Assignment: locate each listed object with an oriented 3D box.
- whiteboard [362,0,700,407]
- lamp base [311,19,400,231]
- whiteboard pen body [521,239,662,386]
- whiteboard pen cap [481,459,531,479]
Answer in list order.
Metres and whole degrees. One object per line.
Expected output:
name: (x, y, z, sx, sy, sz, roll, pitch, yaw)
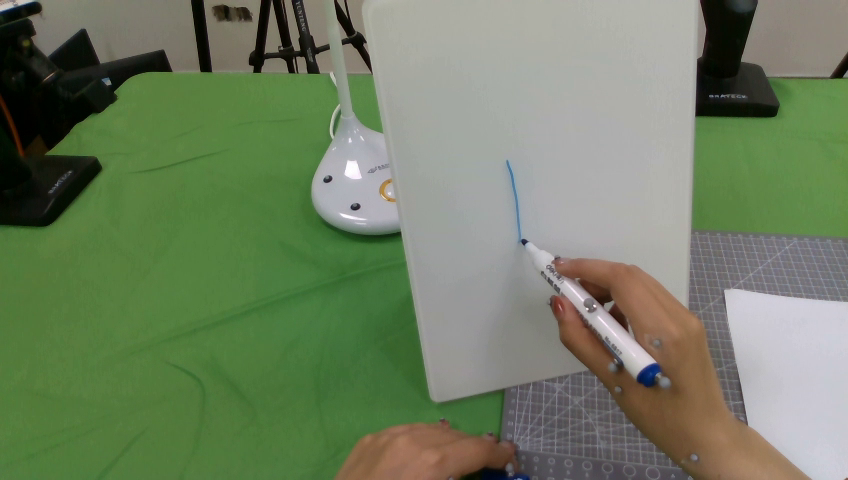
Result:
whiteboard: (0.081, -0.052, 0.490, 0.217, 0.307, 0.142, -11, 24, -4)
lamp base: (-0.061, -0.128, 0.637, 0.160, 0.182, 0.177, -31, 46, -24)
whiteboard pen body: (0.100, 0.039, 0.387, 0.017, 0.017, 0.139, -20, 42, -15)
whiteboard pen cap: (0.058, 0.164, 0.417, 0.033, 0.018, 0.018, 10, 43, 34)
